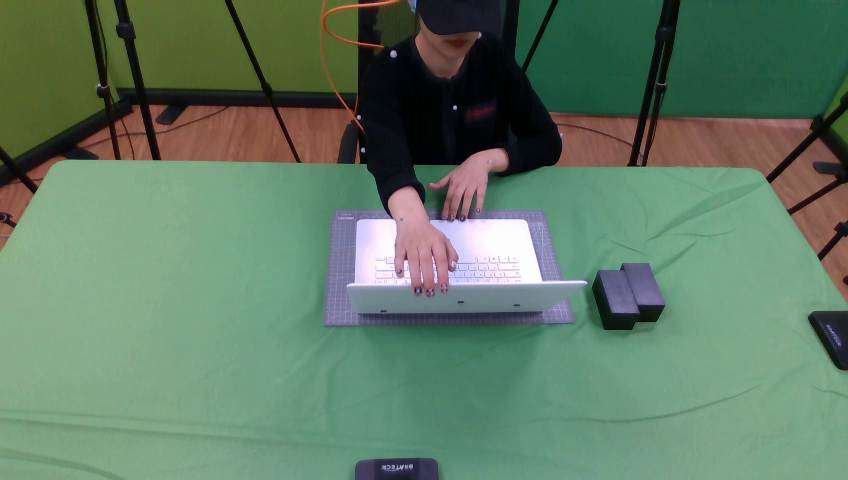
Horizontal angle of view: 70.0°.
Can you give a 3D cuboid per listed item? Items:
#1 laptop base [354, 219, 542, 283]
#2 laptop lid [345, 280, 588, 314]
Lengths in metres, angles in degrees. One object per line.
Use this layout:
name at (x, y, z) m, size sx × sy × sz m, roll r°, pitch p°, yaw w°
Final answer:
laptop base at (0.043, 0.044, 1.162) m, size 0.355 × 0.023 × 0.234 m, roll 0°, pitch 43°, yaw -5°
laptop lid at (0.057, 0.095, 0.969) m, size 0.357 × 0.242 × 0.013 m, roll 0°, pitch 73°, yaw -6°
